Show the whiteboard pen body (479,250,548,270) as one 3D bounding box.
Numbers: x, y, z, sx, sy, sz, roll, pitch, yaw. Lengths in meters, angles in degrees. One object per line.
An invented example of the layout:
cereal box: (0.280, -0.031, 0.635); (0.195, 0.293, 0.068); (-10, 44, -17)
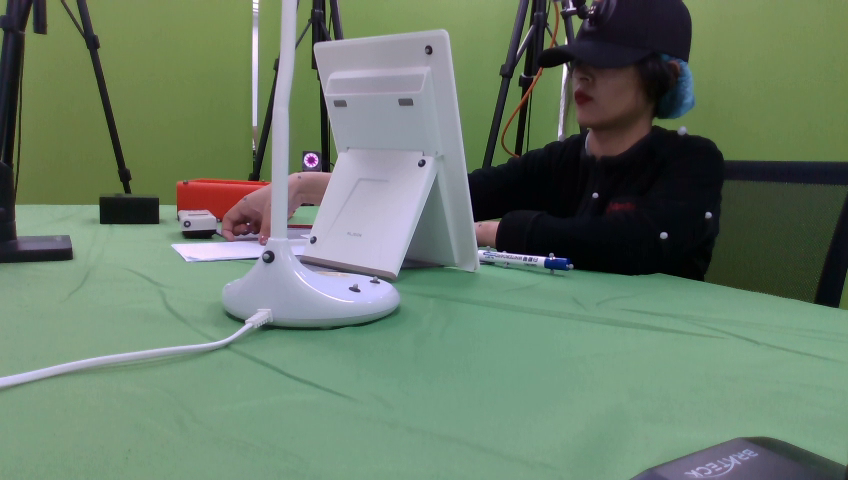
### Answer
whiteboard pen body: (0.130, 0.028, 0.827); (0.140, 0.017, 0.017); (7, 8, 38)

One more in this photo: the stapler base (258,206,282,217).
stapler base: (-0.331, -0.065, 1.305); (0.041, 0.024, 0.130); (9, -2, -9)

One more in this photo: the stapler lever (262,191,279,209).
stapler lever: (-0.329, -0.086, 1.306); (0.027, 0.040, 0.118); (9, 3, -9)

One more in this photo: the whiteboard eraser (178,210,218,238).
whiteboard eraser: (-0.380, -0.027, 1.014); (0.056, 0.042, 0.112); (0, 8, -25)

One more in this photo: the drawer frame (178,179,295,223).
drawer frame: (-0.397, -0.088, 1.315); (0.214, 0.082, 0.201); (1, 8, -8)

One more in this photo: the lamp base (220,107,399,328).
lamp base: (-0.101, -0.023, 0.531); (0.160, 0.180, 0.179); (4, 10, 10)

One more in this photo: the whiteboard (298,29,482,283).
whiteboard: (-0.075, -0.082, 0.742); (0.216, 0.305, 0.144); (9, 29, 37)

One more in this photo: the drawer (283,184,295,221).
drawer: (-0.394, -0.086, 1.317); (0.212, 0.073, 0.194); (1, 8, -7)

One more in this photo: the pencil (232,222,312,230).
pencil: (-0.261, -0.025, 1.141); (0.195, 0.012, 0.012); (2, 7, -26)

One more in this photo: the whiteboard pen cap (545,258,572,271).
whiteboard pen cap: (0.175, 0.032, 0.790); (0.033, 0.018, 0.018); (4, 7, 37)
